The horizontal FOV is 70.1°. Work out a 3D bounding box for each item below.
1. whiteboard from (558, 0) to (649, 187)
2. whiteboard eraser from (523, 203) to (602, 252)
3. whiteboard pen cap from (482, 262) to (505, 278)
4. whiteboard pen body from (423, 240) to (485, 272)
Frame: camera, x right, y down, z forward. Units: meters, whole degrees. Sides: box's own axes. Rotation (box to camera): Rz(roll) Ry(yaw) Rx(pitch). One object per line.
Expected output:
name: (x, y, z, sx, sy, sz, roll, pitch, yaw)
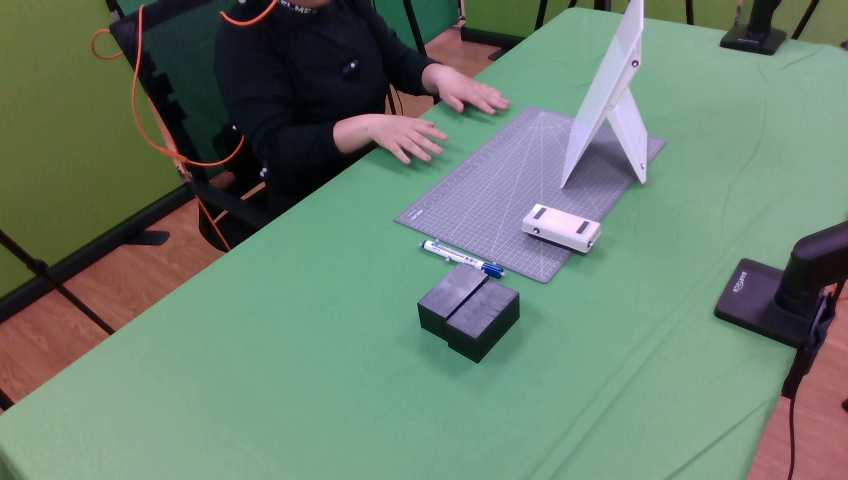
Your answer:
whiteboard: (0.361, -0.238, 1.026, 0.144, 0.306, 0.217, 20, 44, 3)
whiteboard eraser: (0.216, -0.018, 0.945, 0.112, 0.042, 0.056, 20, 46, 29)
whiteboard pen cap: (0.104, 0.044, 0.912, 0.033, 0.018, 0.018, 22, 48, 29)
whiteboard pen body: (0.057, 0.027, 0.942, 0.139, 0.017, 0.017, 22, 48, 30)
